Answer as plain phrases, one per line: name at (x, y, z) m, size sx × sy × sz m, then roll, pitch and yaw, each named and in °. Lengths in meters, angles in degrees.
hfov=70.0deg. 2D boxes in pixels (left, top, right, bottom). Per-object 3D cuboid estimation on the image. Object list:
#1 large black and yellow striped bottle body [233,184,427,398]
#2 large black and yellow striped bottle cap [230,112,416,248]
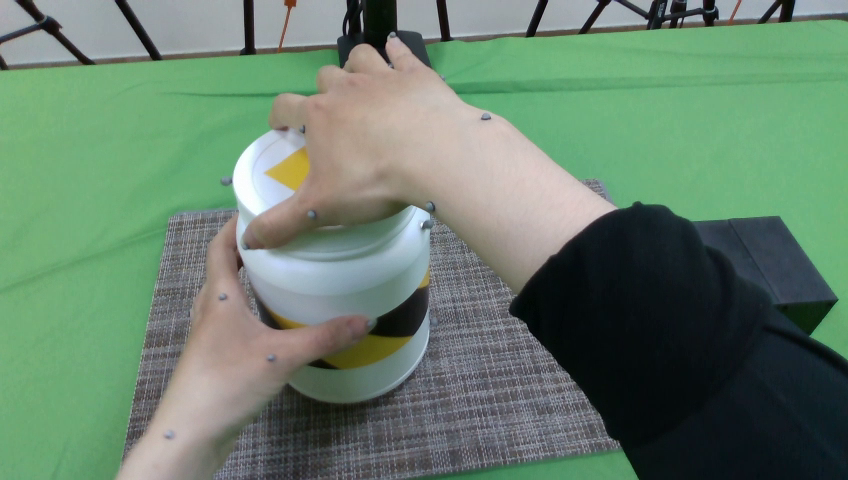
large black and yellow striped bottle body at (-0.063, 0.016, 0.444) m, size 0.131 × 0.185 × 0.129 m, roll 1°, pitch 47°, yaw 0°
large black and yellow striped bottle cap at (-0.062, -0.042, 0.382) m, size 0.115 × 0.019 × 0.114 m, roll 0°, pitch 46°, yaw 1°
